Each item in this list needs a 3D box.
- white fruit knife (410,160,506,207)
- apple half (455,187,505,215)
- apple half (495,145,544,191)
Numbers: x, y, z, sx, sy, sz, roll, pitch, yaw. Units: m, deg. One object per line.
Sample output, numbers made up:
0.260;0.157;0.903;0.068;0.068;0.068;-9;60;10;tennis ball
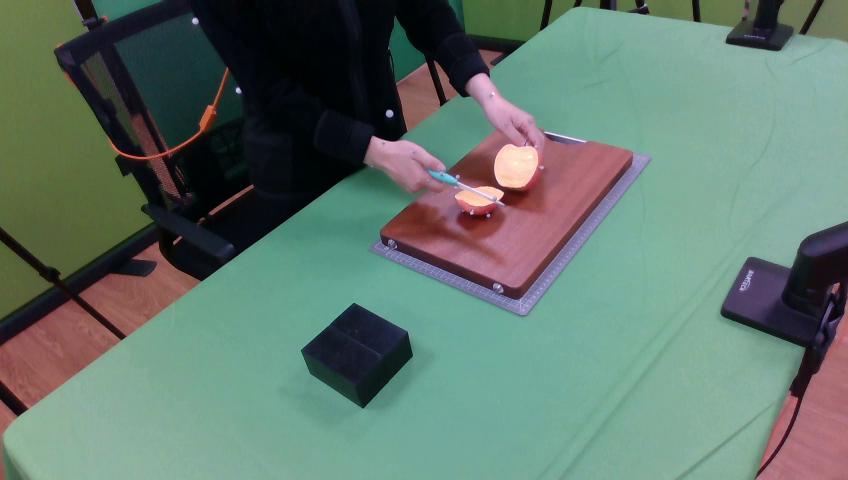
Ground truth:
0.049;-0.090;0.955;0.205;0.027;0.016;28;80;37;white fruit knife
0.094;-0.060;0.988;0.081;0.033;0.081;-4;24;2;apple half
0.165;-0.118;1.015;0.080;0.054;0.074;7;85;31;apple half
